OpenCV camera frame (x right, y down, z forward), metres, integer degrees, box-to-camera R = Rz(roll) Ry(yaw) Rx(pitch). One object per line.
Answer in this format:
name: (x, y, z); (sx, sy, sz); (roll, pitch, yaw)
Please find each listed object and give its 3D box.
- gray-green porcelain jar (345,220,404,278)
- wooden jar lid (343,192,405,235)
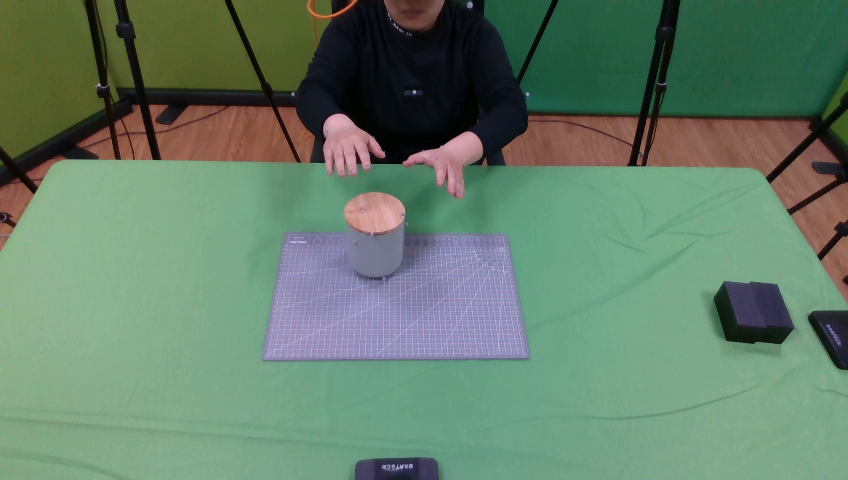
gray-green porcelain jar: (-0.091, -0.001, 1.117); (0.106, 0.127, 0.105); (2, 46, -2)
wooden jar lid: (-0.088, -0.044, 1.072); (0.108, 0.021, 0.107); (3, 45, -3)
